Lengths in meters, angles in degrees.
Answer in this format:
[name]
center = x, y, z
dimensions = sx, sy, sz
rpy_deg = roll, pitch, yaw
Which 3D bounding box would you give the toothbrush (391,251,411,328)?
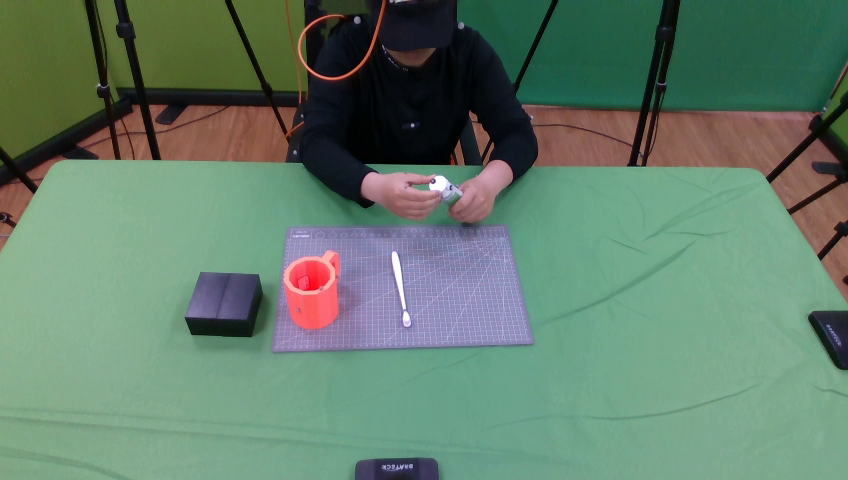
[toothbrush]
center = -0.044, 0.085, 1.112
dimensions = 0.014, 0.017, 0.180
rpy_deg = -14, 46, 0

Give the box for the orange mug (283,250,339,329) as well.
[orange mug]
center = -0.186, 0.079, 1.052
dimensions = 0.083, 0.101, 0.126
rpy_deg = 20, 52, 15

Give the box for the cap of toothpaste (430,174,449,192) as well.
[cap of toothpaste]
center = 0.028, -0.104, 1.115
dimensions = 0.037, 0.011, 0.037
rpy_deg = -7, 69, 20

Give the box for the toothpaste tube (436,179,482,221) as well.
[toothpaste tube]
center = 0.064, -0.080, 1.182
dimensions = 0.055, 0.166, 0.034
rpy_deg = -28, 62, 15
